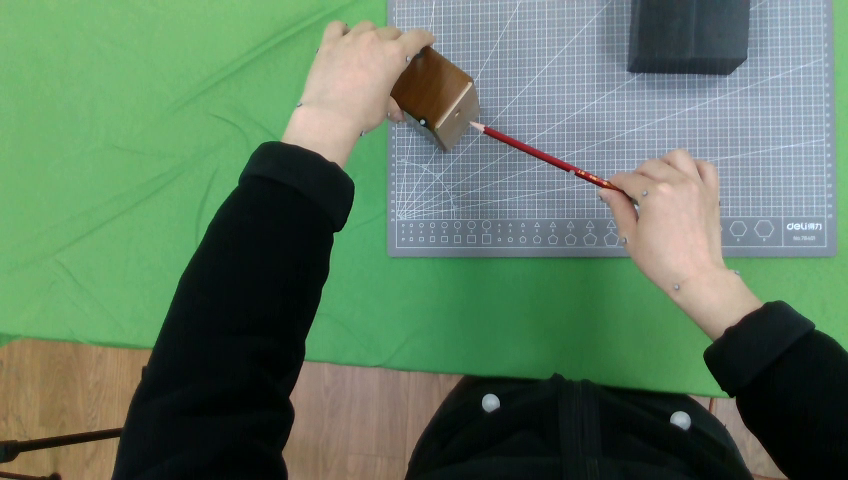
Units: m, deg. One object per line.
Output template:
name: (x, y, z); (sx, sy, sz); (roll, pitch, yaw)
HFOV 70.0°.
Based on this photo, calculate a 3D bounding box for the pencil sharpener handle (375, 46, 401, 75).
pencil sharpener handle: (-0.038, -0.174, 0.593); (0.030, 0.068, 0.036); (39, 86, 8)

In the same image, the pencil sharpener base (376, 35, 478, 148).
pencil sharpener base: (0.005, -0.144, 0.598); (0.076, 0.107, 0.061); (39, 94, 8)

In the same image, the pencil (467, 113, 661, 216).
pencil: (0.124, -0.070, 0.547); (0.193, 0.012, 0.012); (29, 92, 6)
